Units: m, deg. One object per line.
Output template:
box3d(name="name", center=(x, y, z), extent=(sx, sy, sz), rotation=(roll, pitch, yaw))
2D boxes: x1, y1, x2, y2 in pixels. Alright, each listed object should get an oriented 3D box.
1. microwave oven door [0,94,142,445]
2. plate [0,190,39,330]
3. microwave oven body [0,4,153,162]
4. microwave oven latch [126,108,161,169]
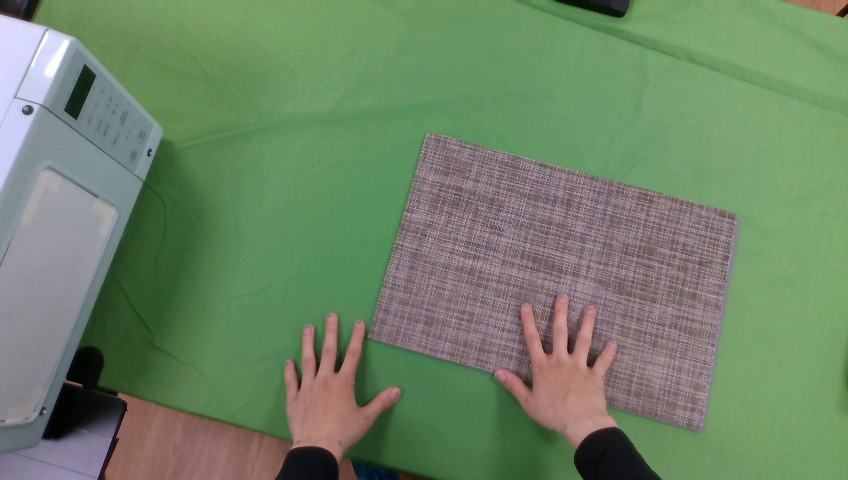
box3d(name="microwave oven door", center=(-0.435, 0.049, 0.661), extent=(0.039, 0.244, 0.354), rotation=(15, 79, 2))
box3d(name="plate", center=(-0.562, 0.028, 0.723), extent=(0.209, 0.038, 0.208), rotation=(1, 81, -3))
box3d(name="microwave oven body", center=(-0.564, -0.029, 0.675), extent=(0.326, 0.261, 0.440), rotation=(16, 80, 1))
box3d(name="microwave oven latch", center=(-0.376, -0.137, 0.801), extent=(0.030, 0.029, 0.079), rotation=(18, 80, 1))
